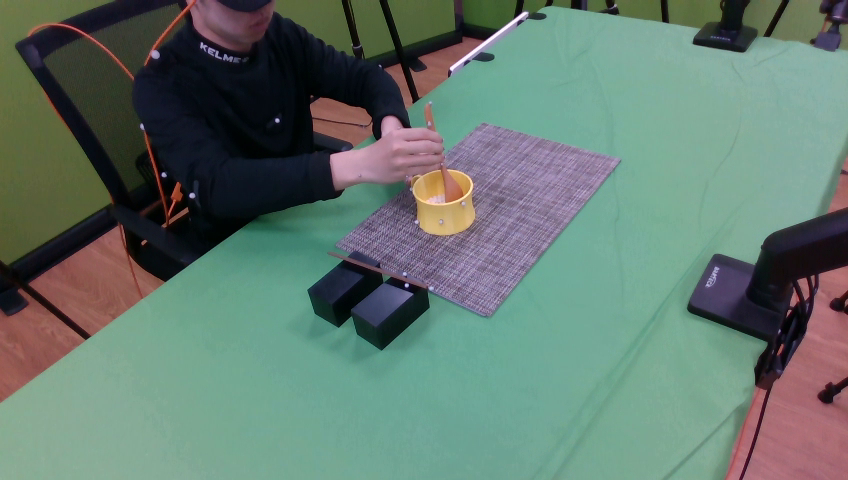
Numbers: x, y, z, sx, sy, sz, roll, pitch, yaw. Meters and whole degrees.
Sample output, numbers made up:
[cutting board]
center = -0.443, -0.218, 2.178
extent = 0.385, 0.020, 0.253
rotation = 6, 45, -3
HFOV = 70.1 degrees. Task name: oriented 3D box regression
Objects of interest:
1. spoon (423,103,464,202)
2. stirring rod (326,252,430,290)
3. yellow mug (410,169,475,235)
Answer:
[spoon]
center = 0.028, -0.127, 0.966
extent = 0.042, 0.194, 0.021
rotation = -35, 31, -24
[stirring rod]
center = -0.068, 0.043, 0.859
extent = 0.175, 0.006, 0.014
rotation = 17, 11, 26
[yellow mug]
center = 0.022, -0.070, 1.007
extent = 0.129, 0.064, 0.100
rotation = 29, 52, 36
